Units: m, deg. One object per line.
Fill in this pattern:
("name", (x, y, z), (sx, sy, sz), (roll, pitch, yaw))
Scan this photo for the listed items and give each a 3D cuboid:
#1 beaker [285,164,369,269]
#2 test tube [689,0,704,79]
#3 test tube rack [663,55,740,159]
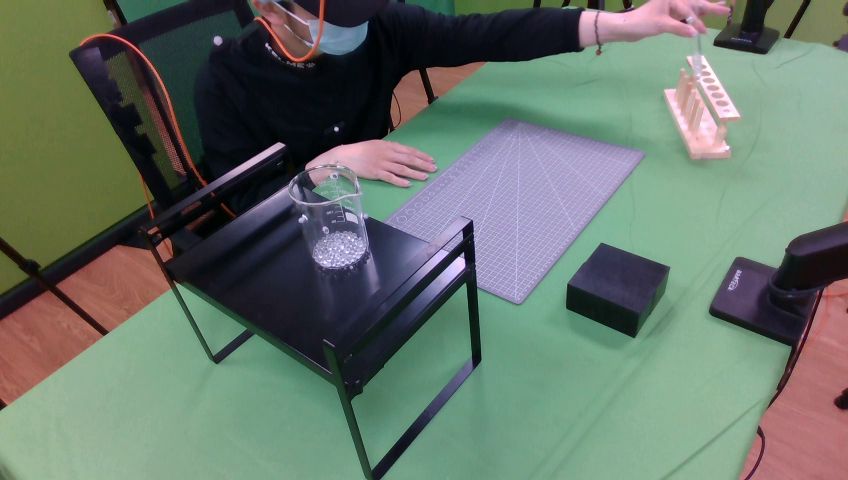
("beaker", (-0.101, -0.024, 0.676), (0.083, 0.101, 0.074), (8, 43, 17))
("test tube", (0.468, -0.348, 1.038), (0.017, 0.151, 0.017), (-15, 34, 11))
("test tube rack", (0.518, -0.256, 1.144), (0.066, 0.085, 0.241), (-1, 41, 8))
